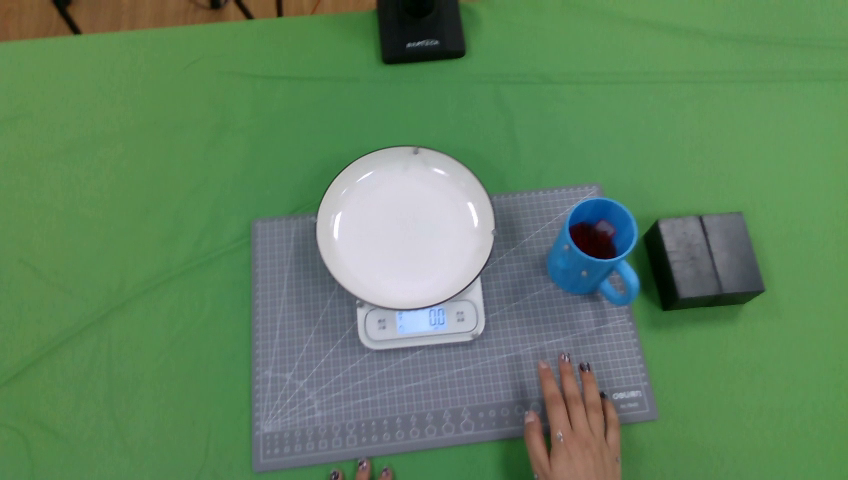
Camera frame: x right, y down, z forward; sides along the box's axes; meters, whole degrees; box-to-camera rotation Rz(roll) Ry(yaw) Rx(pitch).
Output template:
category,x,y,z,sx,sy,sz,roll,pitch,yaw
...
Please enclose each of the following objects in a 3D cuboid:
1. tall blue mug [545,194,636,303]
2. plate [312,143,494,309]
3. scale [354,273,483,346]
category,x,y,z,sx,sy,sz,roll,pitch,yaw
tall blue mug,0.200,0.013,0.694,0.107,0.108,0.077,28,70,11
plate,-0.023,-0.016,0.708,0.209,0.038,0.207,1,68,-1
scale,-0.012,0.022,0.729,0.149,0.032,0.199,-5,69,-2
